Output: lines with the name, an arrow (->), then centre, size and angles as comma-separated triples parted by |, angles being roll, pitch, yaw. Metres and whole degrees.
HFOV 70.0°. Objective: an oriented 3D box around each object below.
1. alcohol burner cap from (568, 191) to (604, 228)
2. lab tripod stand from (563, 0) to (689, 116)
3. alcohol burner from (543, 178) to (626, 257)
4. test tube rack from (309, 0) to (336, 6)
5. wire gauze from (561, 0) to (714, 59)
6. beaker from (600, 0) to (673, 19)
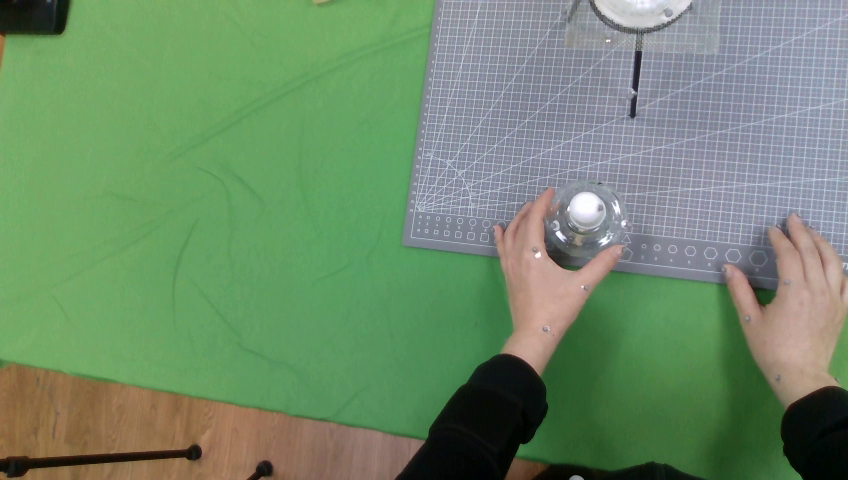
alcohol burner cap -> 0.143, -0.029, 0.537 | 0.034, 0.048, 0.034 | -1, 85, 16
lab tripod stand -> 0.197, -0.207, 0.570 | 0.148, 0.132, 0.148 | -1, 85, 12
alcohol burner -> 0.152, -0.023, 0.572 | 0.078, 0.119, 0.077 | -1, 83, 12
test tube rack -> -0.033, -0.339, 0.667 | 0.242, 0.085, 0.066 | -11, 81, 12
wire gauze -> 0.181, -0.215, 0.507 | 0.125, 0.011, 0.121 | 6, 89, 11
beaker -> 0.165, -0.222, 0.461 | 0.083, 0.101, 0.074 | 20, 90, 15
